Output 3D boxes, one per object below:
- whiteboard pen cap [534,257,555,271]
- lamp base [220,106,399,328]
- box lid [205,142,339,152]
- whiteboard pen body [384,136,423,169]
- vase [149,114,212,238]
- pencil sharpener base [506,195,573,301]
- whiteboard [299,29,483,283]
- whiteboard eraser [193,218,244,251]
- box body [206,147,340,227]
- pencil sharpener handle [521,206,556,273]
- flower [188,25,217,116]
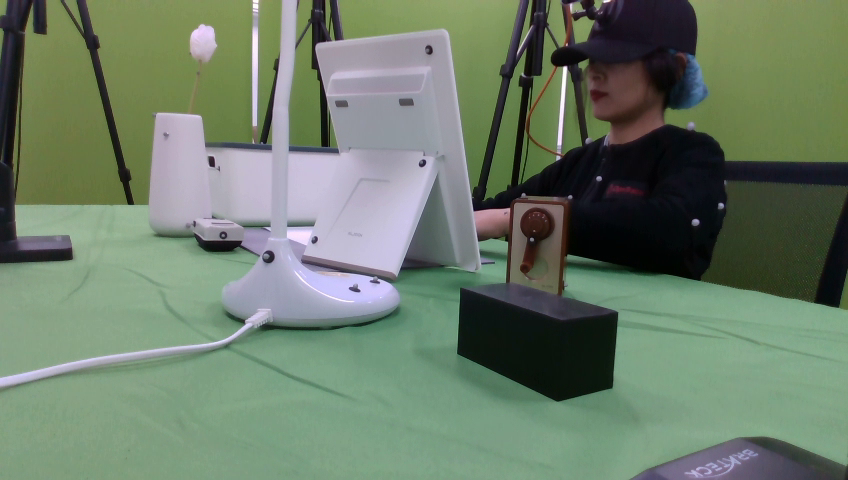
[{"bbox_3d":[0.167,0.033,0.839,0.018,0.018,0.033,-1,6,-22],"label":"whiteboard pen cap"},{"bbox_3d":[-0.102,-0.023,0.531,0.160,0.180,0.179,4,10,10],"label":"lamp base"},{"bbox_3d":[-0.270,-0.196,1.310,0.373,0.015,0.262,-2,9,-30],"label":"box lid"},{"bbox_3d":[-0.037,-0.159,1.110,0.017,0.017,0.141,6,32,27],"label":"whiteboard pen body"},{"bbox_3d":[-0.405,-0.106,1.005,0.098,0.200,0.098,2,6,0],"label":"vase"},{"bbox_3d":[0.127,0.007,0.663,0.061,0.107,0.077,5,8,15],"label":"pencil sharpener base"},{"bbox_3d":[-0.074,-0.082,0.741,0.216,0.305,0.144,9,29,38],"label":"whiteboard"},{"bbox_3d":[-0.307,-0.010,0.900,0.056,0.042,0.112,-4,11,-28],"label":"whiteboard eraser"},{"bbox_3d":[-0.276,-0.122,1.320,0.366,0.160,0.253,-2,9,-30],"label":"box body"},{"bbox_3d":[0.111,0.000,0.613,0.036,0.067,0.031,13,10,14],"label":"pencil sharpener handle"},{"bbox_3d":[-0.394,-0.189,1.011,0.044,0.361,0.038,-1,-13,28],"label":"flower"}]
